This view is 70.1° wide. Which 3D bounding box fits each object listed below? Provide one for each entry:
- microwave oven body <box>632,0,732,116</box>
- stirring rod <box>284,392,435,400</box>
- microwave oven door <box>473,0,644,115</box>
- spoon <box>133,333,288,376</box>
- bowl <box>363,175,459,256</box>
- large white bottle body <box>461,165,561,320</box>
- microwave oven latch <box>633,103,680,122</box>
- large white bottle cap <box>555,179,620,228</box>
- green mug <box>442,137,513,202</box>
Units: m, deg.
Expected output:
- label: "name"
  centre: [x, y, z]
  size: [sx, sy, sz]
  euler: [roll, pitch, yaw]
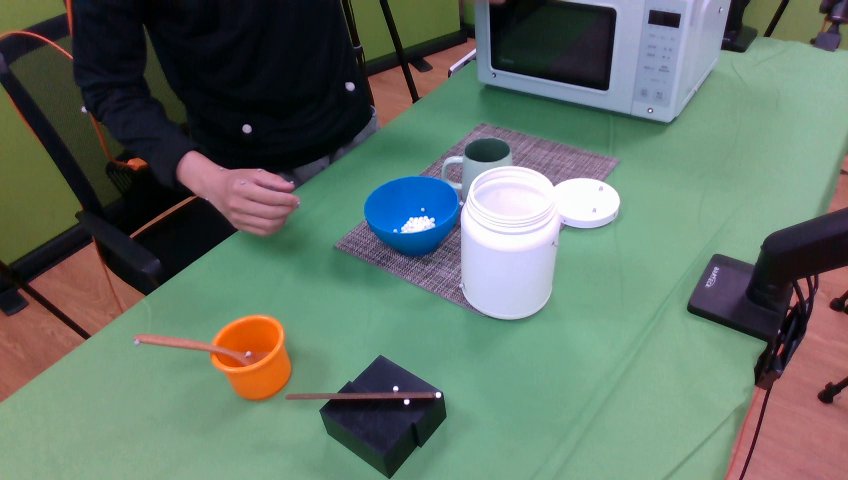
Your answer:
- label: "microwave oven body"
  centre: [0.377, -0.463, 1.267]
  size: [0.438, 0.261, 0.327]
  euler: [21, 49, 30]
- label: "stirring rod"
  centre: [-0.075, 0.180, 0.698]
  size: [0.176, 0.006, 0.014]
  euler: [-2, 6, 7]
- label: "microwave oven door"
  centre: [0.257, -0.396, 1.199]
  size: [0.353, 0.245, 0.039]
  euler: [21, 48, 29]
- label: "spoon"
  centre: [-0.257, 0.137, 0.747]
  size: [0.021, 0.195, 0.041]
  euler: [-47, 40, 23]
- label: "bowl"
  centre: [-0.016, -0.028, 0.955]
  size: [0.151, 0.077, 0.150]
  euler: [-4, 40, 4]
- label: "large white bottle body"
  centre: [0.115, 0.004, 0.816]
  size: [0.130, 0.185, 0.130]
  euler: [-2, 43, 2]
- label: "microwave oven latch"
  centre: [0.444, -0.249, 1.158]
  size: [0.078, 0.029, 0.030]
  euler: [21, 49, 30]
- label: "large white bottle cap"
  centre: [0.265, -0.062, 1.001]
  size: [0.115, 0.018, 0.114]
  euler: [-3, 41, 3]
- label: "green mug"
  centre: [0.091, -0.108, 1.012]
  size: [0.125, 0.105, 0.092]
  euler: [2, 42, 12]
